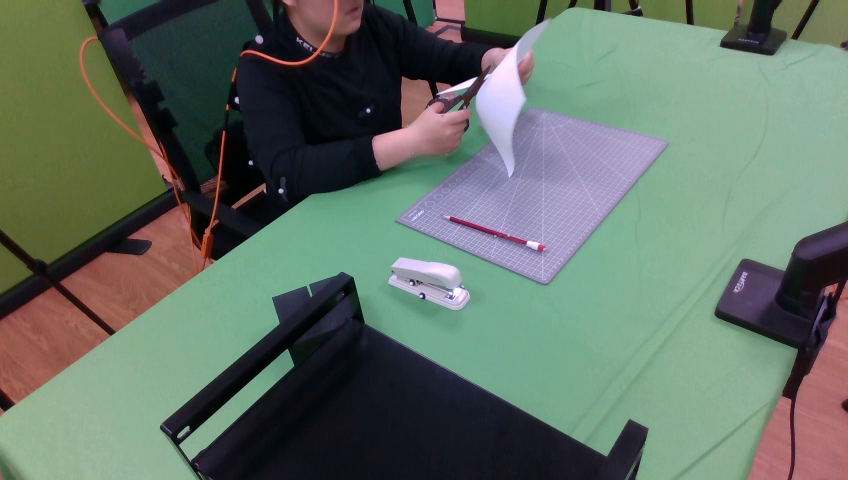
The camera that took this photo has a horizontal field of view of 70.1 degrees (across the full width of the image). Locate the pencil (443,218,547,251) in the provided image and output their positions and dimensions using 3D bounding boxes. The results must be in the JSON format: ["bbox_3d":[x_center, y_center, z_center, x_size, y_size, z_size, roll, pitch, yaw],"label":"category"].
[{"bbox_3d":[0.110,-0.012,0.980,0.192,0.012,0.012,18,46,30],"label":"pencil"}]

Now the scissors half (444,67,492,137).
[{"bbox_3d":[0.084,-0.250,1.107,0.040,0.175,0.013,28,49,-4],"label":"scissors half"}]

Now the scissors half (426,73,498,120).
[{"bbox_3d":[0.068,-0.264,1.101,0.174,0.040,0.013,-19,29,40],"label":"scissors half"}]

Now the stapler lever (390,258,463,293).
[{"bbox_3d":[0.003,0.046,0.881,0.117,0.040,0.027,17,44,29],"label":"stapler lever"}]

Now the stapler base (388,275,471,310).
[{"bbox_3d":[0.007,0.066,0.897,0.129,0.024,0.041,17,44,29],"label":"stapler base"}]
